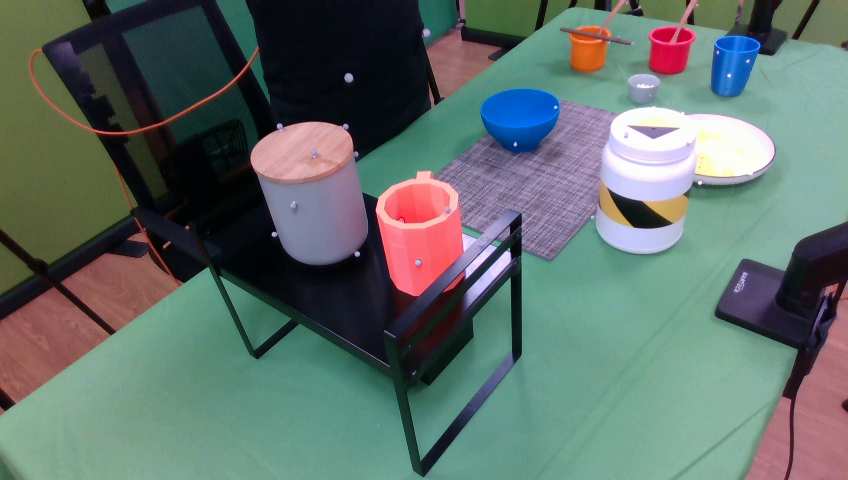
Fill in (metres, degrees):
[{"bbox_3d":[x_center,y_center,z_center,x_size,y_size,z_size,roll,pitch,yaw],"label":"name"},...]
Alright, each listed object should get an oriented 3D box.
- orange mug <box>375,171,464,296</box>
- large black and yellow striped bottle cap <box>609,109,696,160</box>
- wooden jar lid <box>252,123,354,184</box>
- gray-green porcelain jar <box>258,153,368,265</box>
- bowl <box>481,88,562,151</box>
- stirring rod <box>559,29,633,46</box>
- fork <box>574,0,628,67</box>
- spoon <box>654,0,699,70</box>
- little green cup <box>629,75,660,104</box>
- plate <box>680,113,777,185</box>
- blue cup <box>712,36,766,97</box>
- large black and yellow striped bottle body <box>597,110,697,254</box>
[{"bbox_3d":[-0.001,-0.016,0.662,0.083,0.101,0.125,-2,45,8],"label":"orange mug"},{"bbox_3d":[0.319,-0.150,0.849,0.115,0.019,0.114,-4,39,3],"label":"large black and yellow striped bottle cap"},{"bbox_3d":[-0.129,-0.090,0.652,0.108,0.021,0.108,-3,41,3],"label":"wooden jar lid"},{"bbox_3d":[-0.122,-0.043,0.692,0.106,0.127,0.105,-4,40,4],"label":"gray-green porcelain jar"},{"bbox_3d":[0.187,-0.223,1.161,0.151,0.077,0.150,-4,40,4],"label":"bowl"},{"bbox_3d":[0.380,-0.452,1.344,0.174,0.006,0.014,25,49,33],"label":"stirring rod"},{"bbox_3d":[0.413,-0.481,1.377,0.207,0.019,0.028,-56,43,12],"label":"fork"},{"bbox_3d":[0.567,-0.463,1.337,0.041,0.022,0.193,30,97,38],"label":"spoon"},{"bbox_3d":[0.457,-0.313,1.260,0.061,0.039,0.061,-4,40,4],"label":"little green cup"},{"bbox_3d":[0.506,-0.158,1.073,0.209,0.038,0.208,-5,40,4],"label":"plate"},{"bbox_3d":[0.627,-0.350,1.227,0.092,0.100,0.092,-4,39,4],"label":"blue cup"},{"bbox_3d":[0.331,-0.086,0.904,0.131,0.185,0.130,-5,41,4],"label":"large black and yellow striped bottle body"}]
